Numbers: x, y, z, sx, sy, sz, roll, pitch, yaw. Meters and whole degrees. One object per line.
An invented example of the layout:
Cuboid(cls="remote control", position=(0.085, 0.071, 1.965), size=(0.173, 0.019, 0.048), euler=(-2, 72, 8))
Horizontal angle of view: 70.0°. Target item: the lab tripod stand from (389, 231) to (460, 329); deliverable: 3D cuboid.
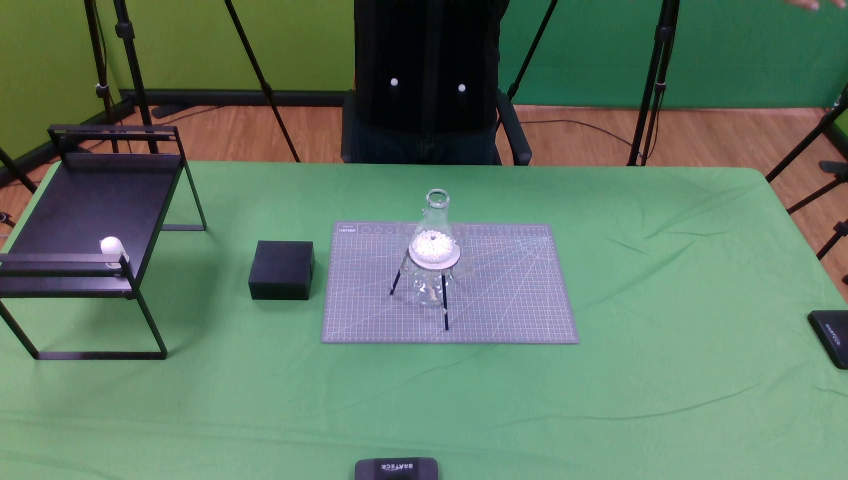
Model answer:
Cuboid(cls="lab tripod stand", position=(0.015, 0.063, 1.058), size=(0.148, 0.132, 0.147), euler=(4, 46, -4))

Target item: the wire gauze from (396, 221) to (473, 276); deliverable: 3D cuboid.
Cuboid(cls="wire gauze", position=(0.016, 0.014, 1.014), size=(0.125, 0.011, 0.120), euler=(-1, 45, -3))

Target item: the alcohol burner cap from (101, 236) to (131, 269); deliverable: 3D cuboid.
Cuboid(cls="alcohol burner cap", position=(-0.452, 0.016, 0.883), size=(0.034, 0.048, 0.033), euler=(2, 45, -2))

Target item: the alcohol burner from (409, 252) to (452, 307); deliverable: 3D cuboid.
Cuboid(cls="alcohol burner", position=(0.013, 0.063, 1.071), size=(0.078, 0.119, 0.077), euler=(4, 45, -3))

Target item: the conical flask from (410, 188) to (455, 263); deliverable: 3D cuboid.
Cuboid(cls="conical flask", position=(0.017, -0.027, 0.971), size=(0.075, 0.122, 0.075), euler=(3, 48, -3))
